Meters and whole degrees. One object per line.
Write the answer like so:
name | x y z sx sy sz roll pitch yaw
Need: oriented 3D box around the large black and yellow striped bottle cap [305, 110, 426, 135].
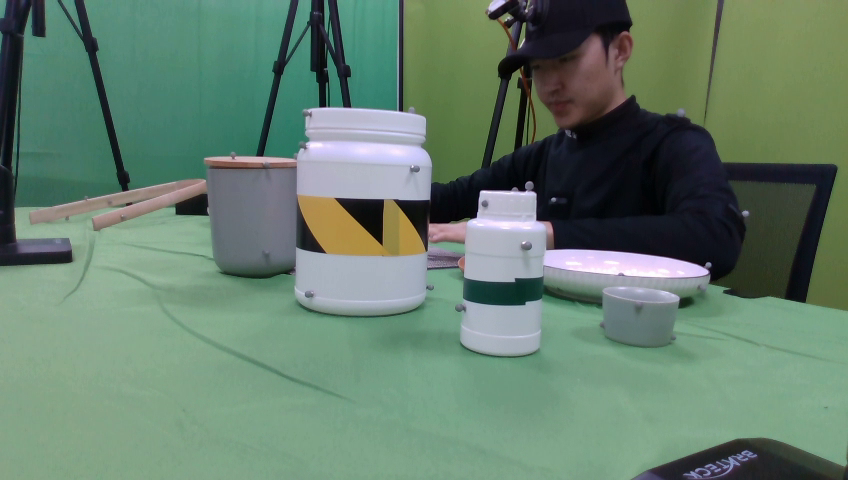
large black and yellow striped bottle cap | -0.055 -0.110 0.574 0.115 0.019 0.115 1 7 0

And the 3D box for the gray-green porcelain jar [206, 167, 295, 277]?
gray-green porcelain jar | -0.201 -0.024 0.724 0.106 0.126 0.106 -1 9 1

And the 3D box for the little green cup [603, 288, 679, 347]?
little green cup | 0.180 0.064 0.505 0.061 0.038 0.061 2 7 0

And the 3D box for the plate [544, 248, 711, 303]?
plate | 0.219 0.041 0.706 0.209 0.038 0.209 2 7 0

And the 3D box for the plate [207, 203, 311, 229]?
plate | -0.342 -0.050 1.259 0.208 0.039 0.207 2 7 0

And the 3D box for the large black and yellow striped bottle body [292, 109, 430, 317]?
large black and yellow striped bottle body | -0.060 -0.028 0.585 0.131 0.184 0.130 3 7 0

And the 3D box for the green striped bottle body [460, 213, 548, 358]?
green striped bottle body | 0.061 0.024 0.460 0.063 0.119 0.063 2 8 0

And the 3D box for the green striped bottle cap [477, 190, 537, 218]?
green striped bottle cap | 0.062 -0.027 0.453 0.044 0.020 0.044 2 5 0

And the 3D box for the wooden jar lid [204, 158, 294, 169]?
wooden jar lid | -0.202 -0.086 0.714 0.108 0.020 0.108 3 11 0

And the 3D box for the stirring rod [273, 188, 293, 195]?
stirring rod | -0.353 -0.122 1.519 0.006 0.014 0.176 2 6 1

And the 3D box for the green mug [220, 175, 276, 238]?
green mug | -0.310 -0.060 1.051 0.093 0.105 0.124 -2 8 -31

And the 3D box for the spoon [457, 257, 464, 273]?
spoon | 0.059 0.044 0.696 0.041 0.021 0.193 21 7 0

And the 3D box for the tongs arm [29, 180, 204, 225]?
tongs arm | -0.609 -0.083 1.245 0.050 0.026 0.386 5 16 23

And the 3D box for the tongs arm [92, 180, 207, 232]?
tongs arm | -0.534 -0.076 1.221 0.028 0.028 0.388 -2 15 12
